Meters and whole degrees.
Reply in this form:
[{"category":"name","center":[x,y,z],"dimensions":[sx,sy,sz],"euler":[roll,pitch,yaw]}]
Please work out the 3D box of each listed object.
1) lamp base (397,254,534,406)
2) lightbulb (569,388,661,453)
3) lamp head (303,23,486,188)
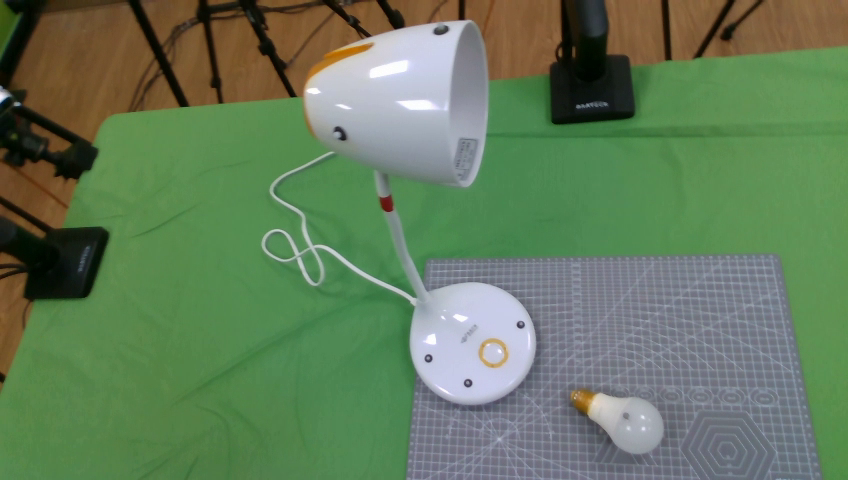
[{"category":"lamp base","center":[0.032,0.089,0.705],"dimensions":[0.178,0.182,0.160],"euler":[24,69,26]},{"category":"lightbulb","center":[0.212,0.197,0.682],"dimensions":[0.106,0.060,0.059],"euler":[20,68,39]},{"category":"lamp head","center":[-0.021,-0.092,0.436],"dimensions":[0.122,0.113,0.111],"euler":[1,63,21]}]
